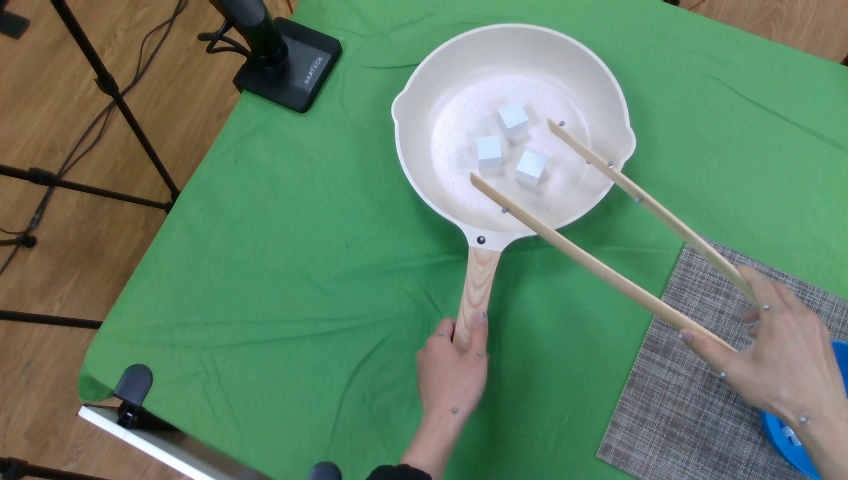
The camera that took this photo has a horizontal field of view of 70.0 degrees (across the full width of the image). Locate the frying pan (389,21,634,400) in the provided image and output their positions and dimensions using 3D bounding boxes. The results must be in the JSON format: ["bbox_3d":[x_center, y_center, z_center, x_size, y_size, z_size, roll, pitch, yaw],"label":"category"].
[{"bbox_3d":[0.083,-0.046,0.744,0.306,0.103,0.485,12,67,8],"label":"frying pan"}]

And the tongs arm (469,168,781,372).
[{"bbox_3d":[0.181,0.017,0.639,0.028,0.028,0.383,-38,53,-17],"label":"tongs arm"}]

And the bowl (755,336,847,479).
[{"bbox_3d":[0.430,0.185,0.664,0.151,0.077,0.150,-1,74,4],"label":"bowl"}]

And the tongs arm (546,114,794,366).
[{"bbox_3d":[0.236,-0.023,0.650,0.051,0.027,0.380,-33,52,-9],"label":"tongs arm"}]
